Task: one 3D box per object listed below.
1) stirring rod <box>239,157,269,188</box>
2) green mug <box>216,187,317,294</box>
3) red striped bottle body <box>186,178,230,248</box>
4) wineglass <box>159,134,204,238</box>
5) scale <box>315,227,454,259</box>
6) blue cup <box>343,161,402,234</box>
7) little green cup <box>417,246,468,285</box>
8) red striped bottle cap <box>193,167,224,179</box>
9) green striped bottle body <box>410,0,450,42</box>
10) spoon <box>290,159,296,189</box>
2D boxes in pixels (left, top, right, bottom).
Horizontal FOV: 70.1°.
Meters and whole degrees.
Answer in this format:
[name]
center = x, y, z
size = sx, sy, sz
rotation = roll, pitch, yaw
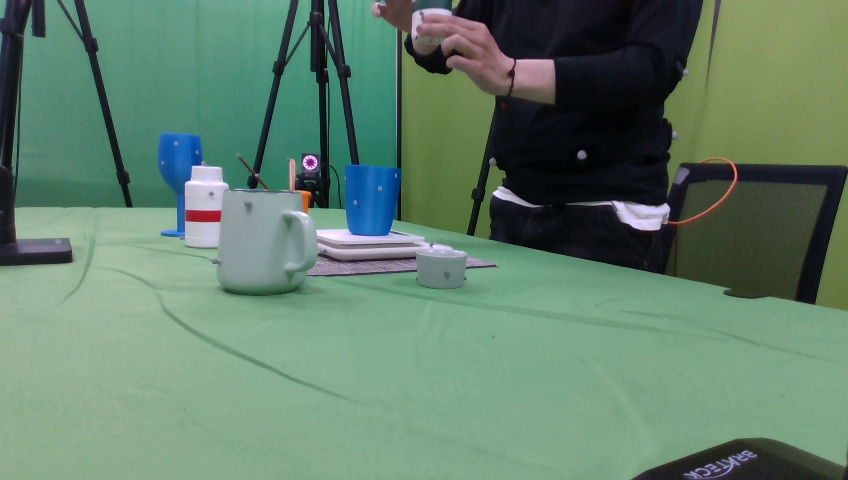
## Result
[stirring rod]
center = -0.309, -0.098, 1.209
size = 0.006, 0.177, 0.014
rotation = -39, 29, -4
[green mug]
center = -0.157, 0.000, 0.629
size = 0.124, 0.105, 0.093
rotation = 7, 9, 37
[red striped bottle body]
center = -0.331, -0.049, 0.927
size = 0.063, 0.119, 0.063
rotation = 2, 6, 0
[wineglass]
center = -0.415, -0.093, 1.040
size = 0.074, 0.172, 0.073
rotation = 2, 7, 0
[scale]
center = -0.066, 0.001, 0.906
size = 0.202, 0.031, 0.148
rotation = -2, 8, -31
[blue cup]
center = -0.078, -0.062, 0.884
size = 0.093, 0.100, 0.092
rotation = 4, 6, 0
[little green cup]
center = 0.021, 0.029, 0.701
size = 0.061, 0.038, 0.061
rotation = 1, 6, 0
[red striped bottle cap]
center = -0.329, -0.103, 0.921
size = 0.044, 0.017, 0.044
rotation = -1, 9, 0
[green striped bottle body]
center = 0.009, -0.371, 0.928
size = 0.063, 0.119, 0.063
rotation = -1, 6, 0
[spoon]
center = -0.273, -0.102, 1.252
size = 0.042, 0.193, 0.021
rotation = 7, -38, -17
